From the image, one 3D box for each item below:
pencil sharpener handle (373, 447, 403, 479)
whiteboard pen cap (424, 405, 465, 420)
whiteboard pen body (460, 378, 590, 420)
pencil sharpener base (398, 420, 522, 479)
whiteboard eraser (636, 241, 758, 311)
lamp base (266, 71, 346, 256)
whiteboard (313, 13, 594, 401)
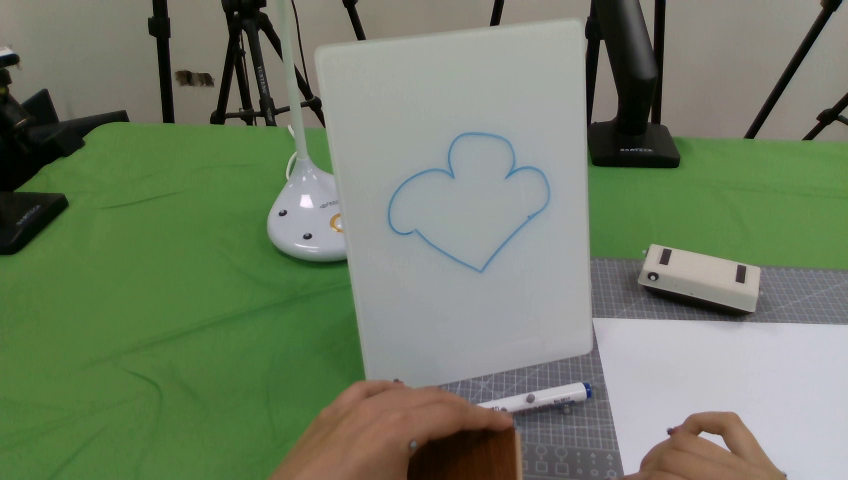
[{"bbox_3d":[-0.029,0.167,0.398,0.030,0.068,0.035,0,25,4],"label":"pencil sharpener handle"},{"bbox_3d":[0.017,0.149,0.507,0.033,0.018,0.018,-11,37,-10],"label":"whiteboard pen cap"},{"bbox_3d":[0.075,0.138,0.516,0.141,0.017,0.017,-10,37,-9],"label":"whiteboard pen body"},{"bbox_3d":[0.023,0.175,0.405,0.076,0.108,0.061,0,37,4],"label":"pencil sharpener base"},{"bbox_3d":[0.283,0.038,0.629,0.112,0.042,0.055,15,41,21],"label":"whiteboard eraser"},{"bbox_3d":[-0.126,-0.098,0.717,0.161,0.182,0.177,-29,42,-31],"label":"lamp base"},{"bbox_3d":[0.027,-0.038,0.574,0.217,0.307,0.143,-10,18,-9],"label":"whiteboard"}]
